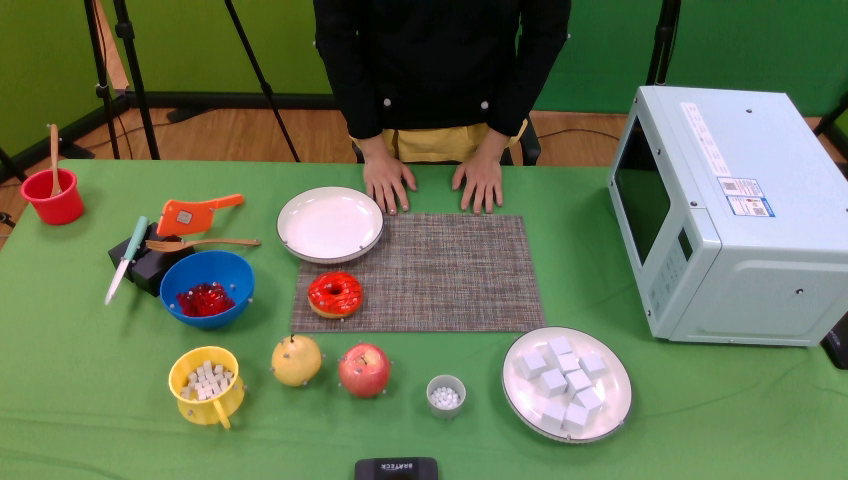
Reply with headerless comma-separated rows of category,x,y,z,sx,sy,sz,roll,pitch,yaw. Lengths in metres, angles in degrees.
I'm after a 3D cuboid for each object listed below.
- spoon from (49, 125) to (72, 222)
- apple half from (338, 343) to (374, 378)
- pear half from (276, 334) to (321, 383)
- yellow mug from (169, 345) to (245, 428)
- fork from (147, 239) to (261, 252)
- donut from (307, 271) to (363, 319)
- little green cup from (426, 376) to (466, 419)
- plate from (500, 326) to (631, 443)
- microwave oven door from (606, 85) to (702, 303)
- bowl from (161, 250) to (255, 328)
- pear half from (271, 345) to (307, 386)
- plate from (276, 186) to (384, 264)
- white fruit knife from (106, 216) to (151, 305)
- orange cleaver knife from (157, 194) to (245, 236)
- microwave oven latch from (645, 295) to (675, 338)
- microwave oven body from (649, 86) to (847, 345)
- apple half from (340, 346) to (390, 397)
spoon,-0.717,-0.131,1.189,0.041,0.021,0.193,-3,90,-7
apple half,-0.112,0.192,0.968,0.081,0.081,0.032,-32,59,-29
pear half,-0.195,0.172,0.957,0.076,0.110,0.056,27,51,16
yellow mug,-0.322,0.230,0.922,0.100,0.064,0.130,-24,53,-25
fork,-0.399,0.007,1.118,0.208,0.019,0.028,-4,36,-36
donut,-0.157,0.097,1.072,0.099,0.048,0.098,4,45,-4
little green cup,0.033,0.248,0.950,0.061,0.039,0.061,2,46,-2
plate,0.224,0.234,0.978,0.208,0.039,0.206,2,46,-2
microwave oven door,0.423,-0.094,1.140,0.039,0.245,0.353,2,46,-1
bowl,-0.362,0.097,1.040,0.151,0.077,0.150,2,45,-2
pear half,-0.216,0.200,0.943,0.070,0.088,0.031,27,49,14
plate,-0.184,-0.027,1.195,0.209,0.038,0.208,2,46,-2
white fruit knife,-0.519,0.032,1.066,0.027,0.016,0.206,-18,45,19
orange cleaver knife,-0.427,-0.050,1.175,0.012,0.077,0.211,22,19,20
microwave oven latch,0.412,0.134,1.061,0.030,0.029,0.078,3,45,0
microwave oven body,0.567,-0.053,1.118,0.326,0.261,0.439,2,45,-1
apple half,-0.085,0.214,0.950,0.081,0.075,0.053,-29,58,-32
